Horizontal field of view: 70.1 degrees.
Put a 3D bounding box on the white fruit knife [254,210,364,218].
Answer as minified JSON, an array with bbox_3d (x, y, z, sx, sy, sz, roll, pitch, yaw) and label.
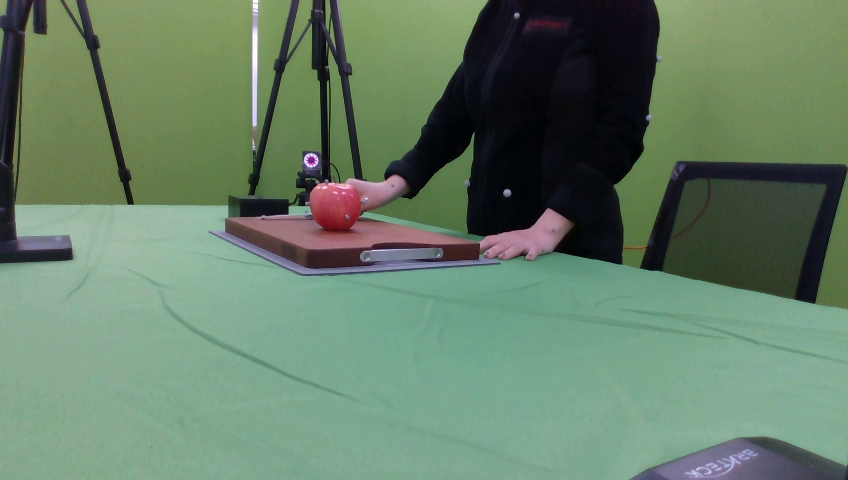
[{"bbox_3d":[-0.207,-0.046,1.104,0.208,0.016,0.027,-3,-1,-35],"label":"white fruit knife"}]

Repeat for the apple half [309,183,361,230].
[{"bbox_3d":[-0.135,-0.052,0.945,0.081,0.074,0.053,3,11,-29],"label":"apple half"}]

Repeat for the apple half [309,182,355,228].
[{"bbox_3d":[-0.152,-0.058,0.978,0.082,0.081,0.032,-2,11,-27],"label":"apple half"}]
